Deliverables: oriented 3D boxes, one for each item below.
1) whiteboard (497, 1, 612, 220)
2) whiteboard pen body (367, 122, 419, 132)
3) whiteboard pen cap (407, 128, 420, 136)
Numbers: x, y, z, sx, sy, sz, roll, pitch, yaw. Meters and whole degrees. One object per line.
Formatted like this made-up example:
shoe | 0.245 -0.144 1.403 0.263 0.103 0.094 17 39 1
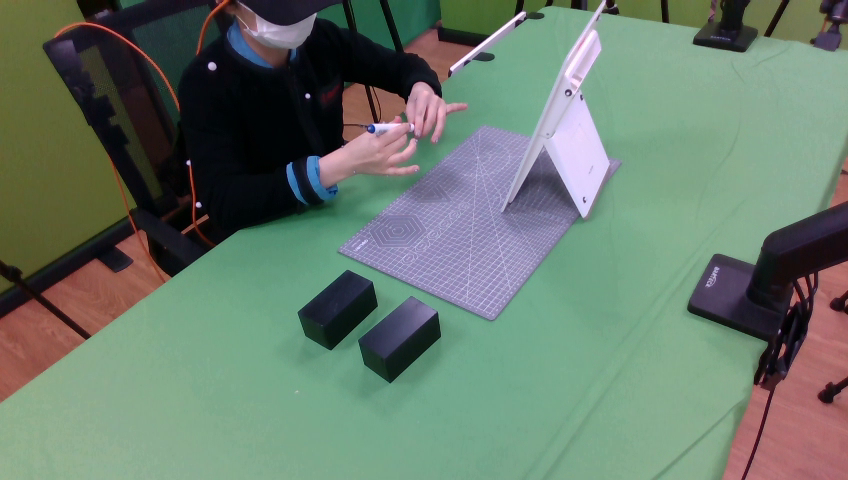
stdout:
whiteboard | 0.260 -0.178 0.963 0.143 0.306 0.217 28 49 9
whiteboard pen body | -0.048 -0.190 1.017 0.016 0.017 0.141 21 20 29
whiteboard pen cap | -0.022 -0.196 1.069 0.017 0.017 0.033 22 4 30
